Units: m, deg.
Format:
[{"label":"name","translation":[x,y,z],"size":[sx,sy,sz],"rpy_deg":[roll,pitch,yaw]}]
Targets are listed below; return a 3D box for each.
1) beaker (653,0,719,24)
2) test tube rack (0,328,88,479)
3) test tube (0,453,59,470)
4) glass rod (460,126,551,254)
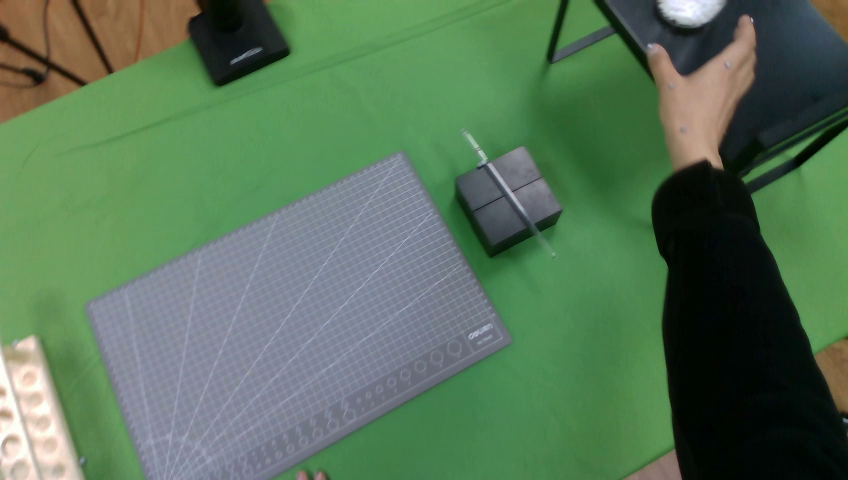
[{"label":"beaker","translation":[0.284,-0.281,0.627],"size":[0.073,0.101,0.084],"rpy_deg":[39,77,13]},{"label":"test tube rack","translation":[-0.453,0.213,0.675],"size":[0.067,0.085,0.240],"rpy_deg":[-27,74,-8]},{"label":"test tube","translation":[-0.415,0.226,0.617],"size":[0.017,0.151,0.017],"rpy_deg":[2,70,-4]},{"label":"glass rod","translation":[0.098,-0.064,0.746],"size":[0.008,0.008,0.198],"rpy_deg":[-30,74,-8]}]
